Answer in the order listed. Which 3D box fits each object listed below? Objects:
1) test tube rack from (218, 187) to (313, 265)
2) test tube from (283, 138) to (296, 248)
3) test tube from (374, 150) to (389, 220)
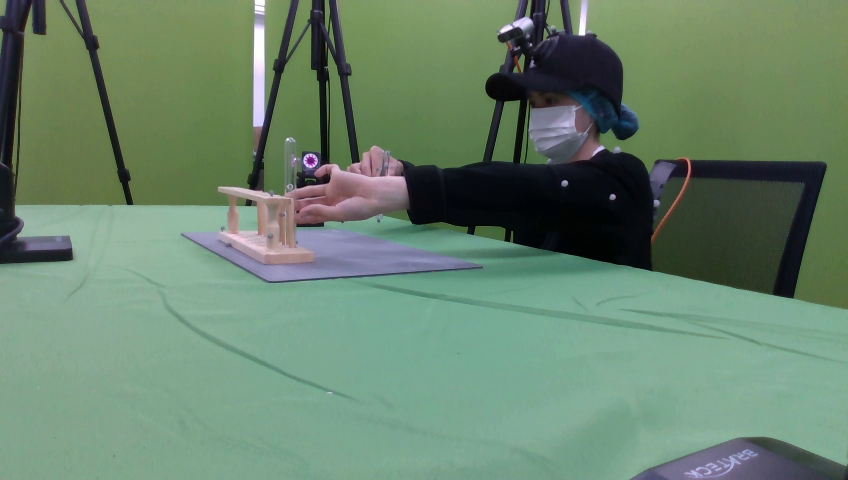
[{"bbox_3d":[-0.235,-0.027,0.872,0.067,0.085,0.241,-2,8,-31],"label":"test tube rack"},{"bbox_3d":[-0.182,-0.062,0.819,0.017,0.150,0.017,1,5,0],"label":"test tube"},{"bbox_3d":[-0.077,-0.095,1.082,0.017,0.150,0.017,6,42,-5],"label":"test tube"}]
